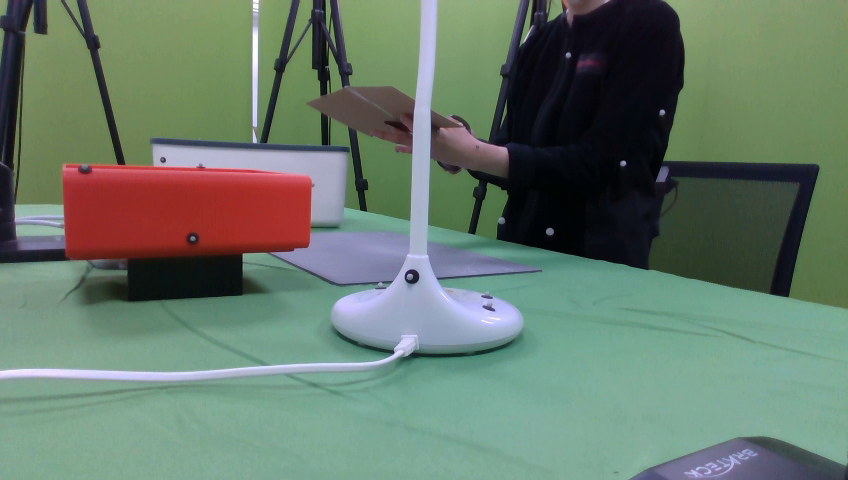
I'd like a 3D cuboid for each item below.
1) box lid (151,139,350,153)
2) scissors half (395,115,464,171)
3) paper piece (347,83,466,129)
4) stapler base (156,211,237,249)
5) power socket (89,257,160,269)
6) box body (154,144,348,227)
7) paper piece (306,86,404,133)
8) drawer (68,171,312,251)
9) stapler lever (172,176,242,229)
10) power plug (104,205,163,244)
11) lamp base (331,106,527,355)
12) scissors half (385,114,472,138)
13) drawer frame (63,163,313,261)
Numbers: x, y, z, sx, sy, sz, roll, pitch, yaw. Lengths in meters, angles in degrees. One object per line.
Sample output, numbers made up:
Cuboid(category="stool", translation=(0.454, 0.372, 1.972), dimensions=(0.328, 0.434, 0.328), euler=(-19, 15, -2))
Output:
Cuboid(category="box lid", translation=(-0.352, -0.191, 1.256), dimensions=(0.373, 0.015, 0.262), euler=(0, 8, -18))
Cuboid(category="scissors half", translation=(0.003, -0.165, 0.988), dimensions=(0.176, 0.040, 0.012), euler=(37, -14, -34))
Cuboid(category="paper piece", translation=(-0.027, -0.193, 0.878), dimensions=(0.139, 0.008, 0.135), euler=(24, -1, -35))
Cuboid(category="stapler base", translation=(-0.227, -0.017, 0.624), dimensions=(0.041, 0.024, 0.130), euler=(18, 10, -2))
Cuboid(category="power socket", translation=(-0.409, 0.004, 0.793), dimensions=(0.072, 0.032, 0.225), euler=(-2, 8, -38))
Cuboid(category="box body", translation=(-0.357, -0.119, 1.264), dimensions=(0.365, 0.160, 0.253), euler=(0, 7, -18))
Cuboid(category="paper piece", translation=(-0.104, -0.208, 0.984), dimensions=(0.136, 0.004, 0.134), euler=(22, -11, -35))
Cuboid(category="drawer", translation=(-0.247, -0.036, 0.629), dimensions=(0.213, 0.073, 0.193), euler=(-2, 9, -30))
Cuboid(category="stapler lever", translation=(-0.217, -0.041, 0.618), dimensions=(0.027, 0.040, 0.118), euler=(18, 11, -2))
Cuboid(category="power plug", translation=(-0.390, -0.021, 0.815), dimensions=(0.073, 0.052, 0.035), euler=(-1, 8, -27))
Cuboid(category="lamp base", translation=(0.006, -0.012, 0.478), dimensions=(0.161, 0.180, 0.179), euler=(2, 10, 2))
Cuboid(category="scissors half", translation=(0.009, -0.188, 0.989), dimensions=(0.176, 0.040, 0.013), euler=(-5, 6, -36))
Cuboid(category="drawer frame", translation=(-0.248, -0.036, 0.626), dimensions=(0.215, 0.082, 0.200), euler=(-3, 9, -31))
